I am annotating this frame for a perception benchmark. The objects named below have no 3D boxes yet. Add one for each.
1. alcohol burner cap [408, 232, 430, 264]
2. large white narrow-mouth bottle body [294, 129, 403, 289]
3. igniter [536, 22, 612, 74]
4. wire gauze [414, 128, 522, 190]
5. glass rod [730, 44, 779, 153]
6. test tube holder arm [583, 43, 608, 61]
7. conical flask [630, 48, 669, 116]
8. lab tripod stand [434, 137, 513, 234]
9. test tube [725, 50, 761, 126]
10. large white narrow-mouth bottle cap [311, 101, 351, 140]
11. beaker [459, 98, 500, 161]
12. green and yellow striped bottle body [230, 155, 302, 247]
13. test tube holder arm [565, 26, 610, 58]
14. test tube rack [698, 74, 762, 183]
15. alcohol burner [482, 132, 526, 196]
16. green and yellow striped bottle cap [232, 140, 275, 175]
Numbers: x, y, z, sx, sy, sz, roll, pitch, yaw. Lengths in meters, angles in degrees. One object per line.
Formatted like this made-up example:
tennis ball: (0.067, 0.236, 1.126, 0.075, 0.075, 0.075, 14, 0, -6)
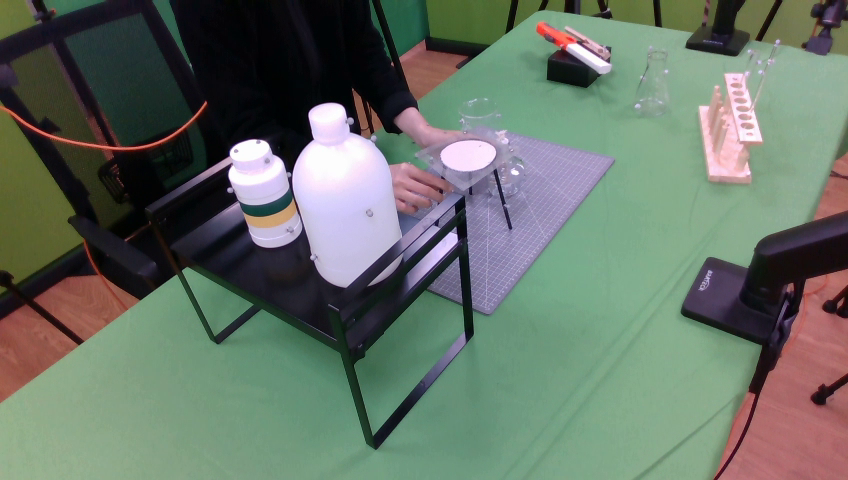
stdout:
alcohol burner cap: (-0.010, 0.010, 0.947, 0.034, 0.048, 0.033, -5, 40, 4)
large white narrow-mouth bottle body: (-0.082, -0.047, 0.634, 0.102, 0.195, 0.101, -4, 40, 4)
igniter: (0.330, -0.439, 1.366, 0.057, 0.025, 0.274, -11, 41, -20)
wire gauze: (0.066, -0.131, 0.926, 0.122, 0.011, 0.124, -31, 46, -24)
glass rod: (0.555, -0.233, 1.020, 0.008, 0.200, 0.008, 2, 39, -1)
test tube holder arm: (0.379, -0.420, 1.341, 0.010, 0.015, 0.087, -39, 41, 10)
conical flask: (0.456, -0.317, 1.205, 0.075, 0.122, 0.075, -4, 41, 4)
lab tripod stand: (0.074, -0.086, 0.976, 0.148, 0.132, 0.147, -4, 43, 4)
test tube: (0.570, -0.269, 1.086, 0.017, 0.151, 0.017, -1, 45, 1)
large white narrow-mouth bottle cap: (-0.089, -0.114, 0.578, 0.038, 0.024, 0.037, -3, 39, 3)
beaker: (0.104, -0.208, 1.142, 0.074, 0.101, 0.083, -20, 41, -15)
green and yellow striped bottle body: (-0.188, -0.055, 0.714, 0.063, 0.120, 0.063, -4, 41, 4)
test tube holder arm: (0.369, -0.450, 1.373, 0.013, 0.015, 0.177, -39, 41, 10)
test tube rack: (0.547, -0.208, 1.095, 0.066, 0.085, 0.242, 5, 42, 15)
alcohol burner: (0.138, -0.136, 1.042, 0.078, 0.119, 0.077, -4, 43, 4)
green and yellow striped bottle cap: (-0.192, -0.094, 0.680, 0.045, 0.020, 0.045, -5, 39, 5)
